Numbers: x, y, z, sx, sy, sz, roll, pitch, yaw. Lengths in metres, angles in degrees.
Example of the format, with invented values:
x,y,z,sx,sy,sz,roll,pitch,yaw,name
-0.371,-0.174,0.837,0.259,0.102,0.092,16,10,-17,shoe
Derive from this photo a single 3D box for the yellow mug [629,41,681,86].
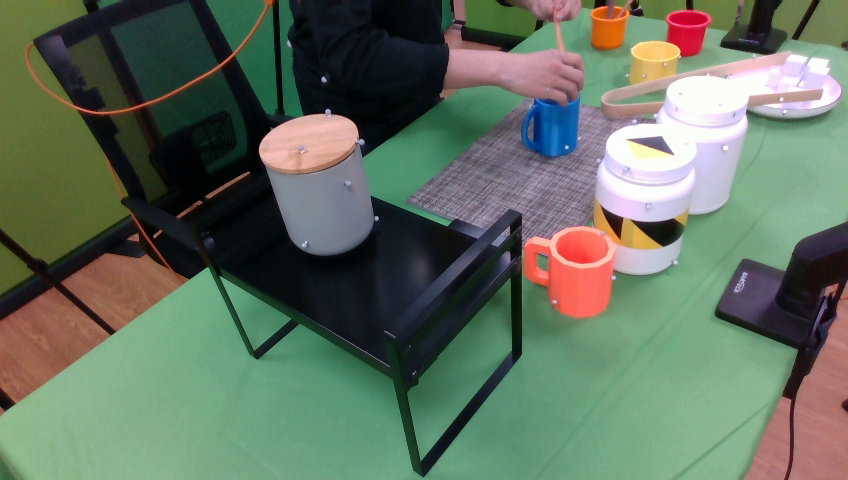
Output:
x,y,z,sx,sy,sz,roll,pitch,yaw,name
0.495,-0.389,1.321,0.100,0.064,0.130,-14,40,-7,yellow mug

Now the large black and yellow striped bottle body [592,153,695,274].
x,y,z,sx,sy,sz,roll,pitch,yaw,name
0.313,-0.056,0.872,0.131,0.185,0.130,-4,41,4,large black and yellow striped bottle body

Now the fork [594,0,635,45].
x,y,z,sx,sy,sz,roll,pitch,yaw,name
0.485,-0.552,1.447,0.207,0.019,0.028,-51,47,17,fork

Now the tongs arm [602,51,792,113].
x,y,z,sx,sy,sz,roll,pitch,yaw,name
0.552,-0.319,1.224,0.384,0.027,0.050,-10,43,7,tongs arm

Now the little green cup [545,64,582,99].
x,y,z,sx,sy,sz,roll,pitch,yaw,name
0.237,-0.270,1.039,0.061,0.062,0.038,11,81,21,little green cup

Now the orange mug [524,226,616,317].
x,y,z,sx,sy,sz,roll,pitch,yaw,name
0.201,0.039,0.845,0.125,0.101,0.083,18,46,21,orange mug

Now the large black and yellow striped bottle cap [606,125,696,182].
x,y,z,sx,sy,sz,roll,pitch,yaw,name
0.305,-0.119,0.816,0.115,0.019,0.114,-5,41,5,large black and yellow striped bottle cap

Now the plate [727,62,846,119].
x,y,z,sx,sy,sz,roll,pitch,yaw,name
0.710,-0.292,1.198,0.207,0.039,0.206,-4,40,4,plate

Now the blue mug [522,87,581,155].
x,y,z,sx,sy,sz,roll,pitch,yaw,name
0.234,-0.219,1.127,0.117,0.106,0.081,-21,42,-15,blue mug

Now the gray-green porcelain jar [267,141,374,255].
x,y,z,sx,sy,sz,roll,pitch,yaw,name
-0.117,-0.054,0.703,0.106,0.127,0.105,-4,40,4,gray-green porcelain jar

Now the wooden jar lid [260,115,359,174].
x,y,z,sx,sy,sz,roll,pitch,yaw,name
-0.124,-0.101,0.662,0.108,0.021,0.108,-4,41,4,wooden jar lid

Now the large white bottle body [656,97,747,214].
x,y,z,sx,sy,sz,roll,pitch,yaw,name
0.431,-0.148,0.959,0.130,0.185,0.130,-4,41,4,large white bottle body

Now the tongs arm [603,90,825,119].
x,y,z,sx,sy,sz,roll,pitch,yaw,name
0.546,-0.262,1.163,0.386,0.028,0.028,-1,49,18,tongs arm

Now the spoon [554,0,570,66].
x,y,z,sx,sy,sz,roll,pitch,yaw,name
0.231,-0.360,1.032,0.021,0.194,0.042,0,12,43,spoon

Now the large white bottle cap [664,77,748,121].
x,y,z,sx,sy,sz,roll,pitch,yaw,name
0.421,-0.212,0.905,0.115,0.018,0.114,-4,40,4,large white bottle cap

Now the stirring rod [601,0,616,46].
x,y,z,sx,sy,sz,roll,pitch,yaw,name
0.452,-0.554,1.464,0.014,0.006,0.176,11,86,15,stirring rod
